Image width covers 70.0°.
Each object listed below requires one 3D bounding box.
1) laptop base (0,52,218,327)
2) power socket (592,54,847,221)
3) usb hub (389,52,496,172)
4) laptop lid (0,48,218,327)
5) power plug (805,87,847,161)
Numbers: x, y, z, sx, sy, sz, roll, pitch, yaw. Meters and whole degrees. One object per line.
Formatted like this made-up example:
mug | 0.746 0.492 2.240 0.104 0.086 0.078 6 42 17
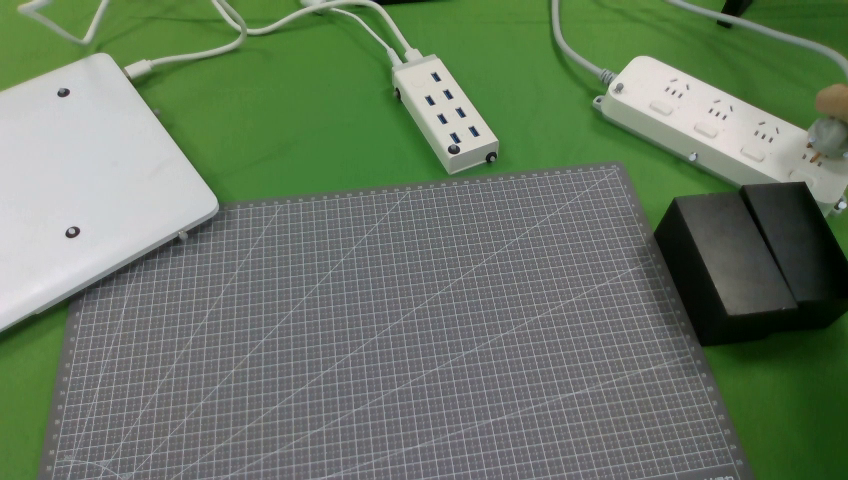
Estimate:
laptop base | -0.370 -0.011 0.476 0.354 0.023 0.233 -33 66 -20
power socket | 0.260 -0.094 0.531 0.225 0.033 0.072 34 62 20
usb hub | 0.014 -0.118 0.548 0.049 0.025 0.124 -22 60 -14
laptop lid | -0.369 -0.016 0.465 0.357 0.013 0.239 -32 64 -19
power plug | 0.337 -0.095 0.490 0.072 0.053 0.035 -40 70 -23
